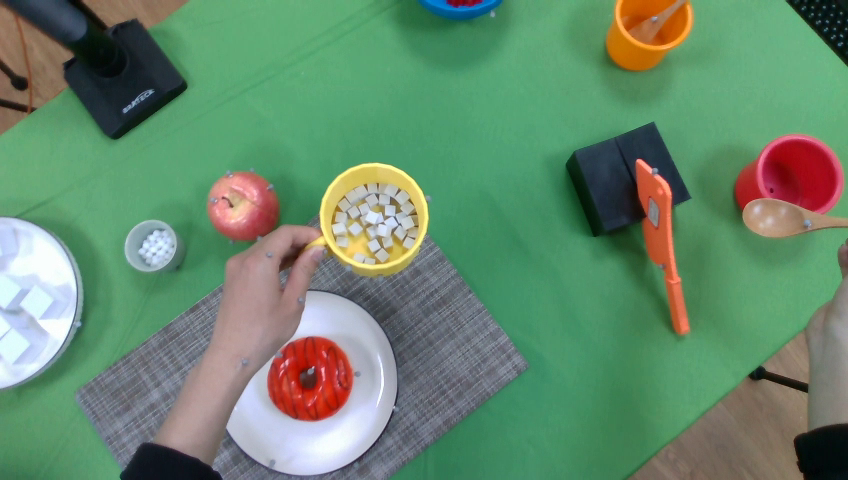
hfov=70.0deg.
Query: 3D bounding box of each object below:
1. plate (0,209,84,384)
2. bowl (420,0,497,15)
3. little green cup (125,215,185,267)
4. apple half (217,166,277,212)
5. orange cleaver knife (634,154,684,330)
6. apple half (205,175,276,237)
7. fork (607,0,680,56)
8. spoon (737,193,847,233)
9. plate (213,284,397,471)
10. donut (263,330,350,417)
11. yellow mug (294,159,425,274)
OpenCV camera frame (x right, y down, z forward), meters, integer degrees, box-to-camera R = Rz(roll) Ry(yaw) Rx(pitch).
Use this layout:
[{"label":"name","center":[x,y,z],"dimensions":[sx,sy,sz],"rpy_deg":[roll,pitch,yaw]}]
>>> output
[{"label":"plate","center":[-0.504,0.067,0.720],"dimensions":[0.208,0.039,0.207],"rpy_deg":[0,82,1]},{"label":"bowl","center":[0.043,-0.339,0.753],"dimensions":[0.151,0.077,0.151],"rpy_deg":[0,82,1]},{"label":"little green cup","center":[-0.320,0.004,0.727],"dimensions":[0.061,0.039,0.061],"rpy_deg":[0,81,1]},{"label":"apple half","center":[-0.201,-0.065,0.718],"dimensions":[0.081,0.081,0.033],"rpy_deg":[32,86,6]},{"label":"orange cleaver knife","center":[0.268,0.005,0.695],"dimensions":[0.012,0.076,0.213],"rpy_deg":[-18,113,-1]},{"label":"apple half","center":[-0.221,-0.033,0.714],"dimensions":[0.081,0.075,0.053],"rpy_deg":[33,87,2]},{"label":"fork","center":[0.304,-0.287,0.706],"dimensions":[0.207,0.019,0.028],"rpy_deg":[-35,77,40]},{"label":"spoon","center":[0.392,-0.018,0.551],"dimensions":[0.192,0.022,0.041],"rpy_deg":[9,70,37]},{"label":"plate","center":[-0.134,0.155,0.699],"dimensions":[0.209,0.038,0.208],"rpy_deg":[0,82,1]},{"label":"donut","center":[-0.133,0.152,0.688],"dimensions":[0.099,0.048,0.099],"rpy_deg":[0,84,0]},{"label":"yellow mug","center":[-0.064,-0.013,0.577],"dimensions":[0.131,0.064,0.099],"rpy_deg":[-27,84,-8]}]
